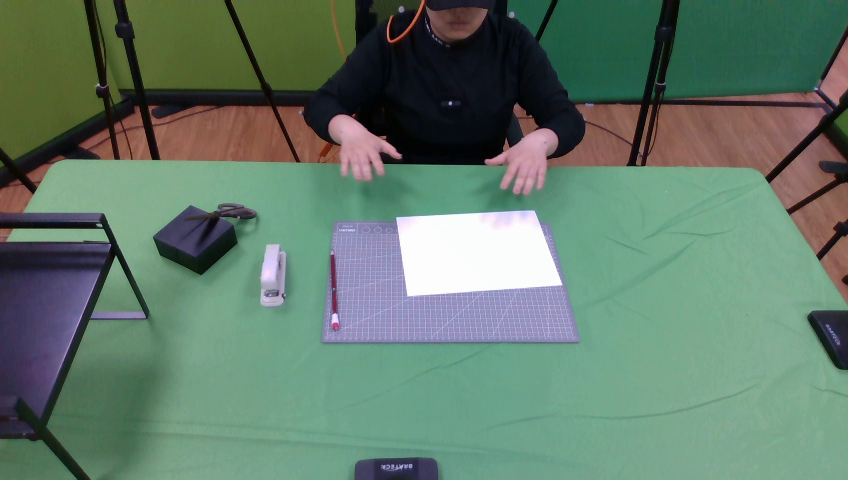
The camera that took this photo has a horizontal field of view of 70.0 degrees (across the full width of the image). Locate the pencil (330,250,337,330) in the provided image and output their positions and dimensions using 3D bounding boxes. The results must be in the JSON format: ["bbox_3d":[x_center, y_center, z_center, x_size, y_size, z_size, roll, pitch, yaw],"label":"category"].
[{"bbox_3d":[-0.167,0.086,1.107,0.012,0.012,0.192,-3,45,-7],"label":"pencil"}]

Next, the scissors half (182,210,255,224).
[{"bbox_3d":[-0.390,-0.042,1.158,0.040,0.013,0.175,40,22,22],"label":"scissors half"}]

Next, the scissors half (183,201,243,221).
[{"bbox_3d":[-0.405,-0.054,1.163,0.040,0.013,0.175,29,18,7],"label":"scissors half"}]

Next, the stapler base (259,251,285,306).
[{"bbox_3d":[-0.279,0.064,1.113,0.041,0.024,0.129,-1,44,-9],"label":"stapler base"}]

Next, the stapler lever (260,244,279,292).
[{"bbox_3d":[-0.279,0.045,1.096,0.027,0.040,0.117,-2,44,-9],"label":"stapler lever"}]
